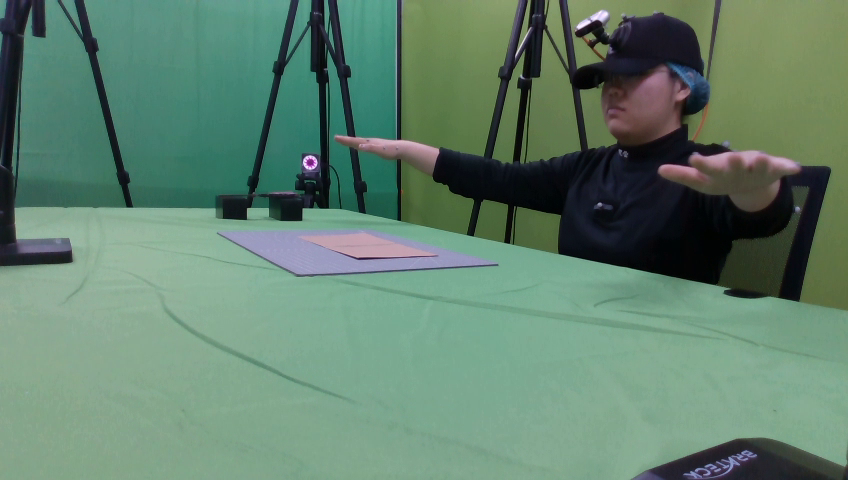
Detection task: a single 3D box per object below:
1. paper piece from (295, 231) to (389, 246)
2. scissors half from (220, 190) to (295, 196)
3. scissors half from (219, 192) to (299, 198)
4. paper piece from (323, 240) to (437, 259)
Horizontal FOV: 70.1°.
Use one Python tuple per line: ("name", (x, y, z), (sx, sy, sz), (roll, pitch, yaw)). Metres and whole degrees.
("paper piece", (-0.138, -0.003, 1.045), (0.136, 0.004, 0.134), (-3, 9, -31))
("scissors half", (-0.379, -0.105, 1.380), (0.176, 0.013, 0.040), (-5, 16, -35))
("scissors half", (-0.370, -0.101, 1.363), (0.176, 0.013, 0.040), (-2, 9, -19))
("paper piece", (-0.069, 0.015, 0.932), (0.137, 0.008, 0.137), (-5, 11, -30))
